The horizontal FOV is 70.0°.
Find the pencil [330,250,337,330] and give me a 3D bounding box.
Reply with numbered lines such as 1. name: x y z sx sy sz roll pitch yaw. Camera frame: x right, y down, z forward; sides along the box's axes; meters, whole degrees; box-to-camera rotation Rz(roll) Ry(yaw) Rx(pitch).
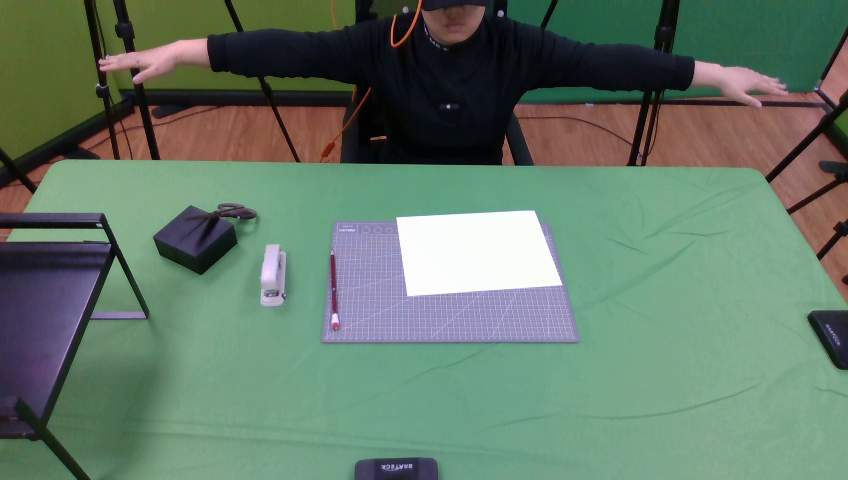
1. pencil: -0.167 0.086 1.107 0.012 0.012 0.192 -3 45 -7

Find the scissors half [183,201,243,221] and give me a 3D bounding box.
1. scissors half: -0.405 -0.054 1.163 0.040 0.013 0.175 30 18 7

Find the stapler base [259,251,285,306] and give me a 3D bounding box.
1. stapler base: -0.279 0.064 1.113 0.041 0.024 0.129 -2 44 -9

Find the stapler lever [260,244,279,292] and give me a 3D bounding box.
1. stapler lever: -0.279 0.045 1.096 0.027 0.040 0.117 -2 44 -9

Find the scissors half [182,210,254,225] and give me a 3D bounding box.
1. scissors half: -0.390 -0.042 1.158 0.040 0.013 0.175 41 22 21
